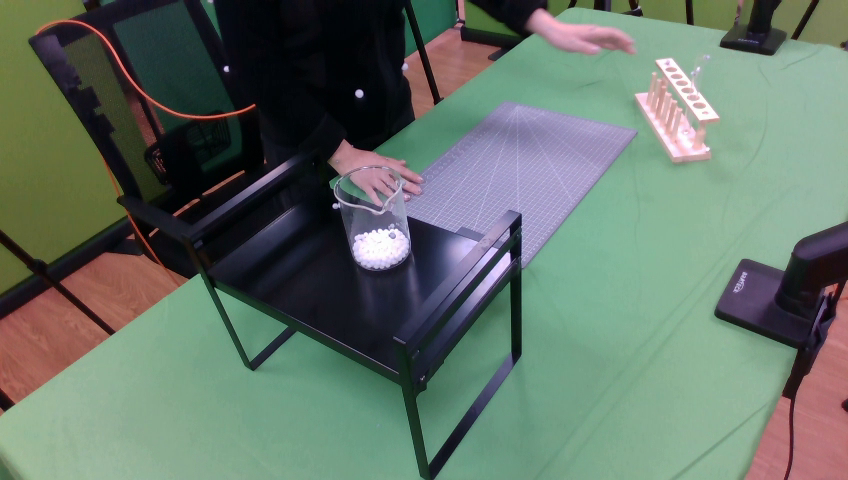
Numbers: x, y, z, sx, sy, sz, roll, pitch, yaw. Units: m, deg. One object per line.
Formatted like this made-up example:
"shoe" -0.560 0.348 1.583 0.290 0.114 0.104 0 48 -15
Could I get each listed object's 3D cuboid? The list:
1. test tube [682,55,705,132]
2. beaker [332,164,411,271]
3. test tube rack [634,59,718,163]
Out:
"test tube" 0.480 -0.258 1.080 0.017 0.151 0.017 -5 43 5
"beaker" -0.053 -0.020 0.669 0.074 0.101 0.083 -19 42 -12
"test tube rack" 0.470 -0.250 1.148 0.067 0.085 0.241 -6 40 3
